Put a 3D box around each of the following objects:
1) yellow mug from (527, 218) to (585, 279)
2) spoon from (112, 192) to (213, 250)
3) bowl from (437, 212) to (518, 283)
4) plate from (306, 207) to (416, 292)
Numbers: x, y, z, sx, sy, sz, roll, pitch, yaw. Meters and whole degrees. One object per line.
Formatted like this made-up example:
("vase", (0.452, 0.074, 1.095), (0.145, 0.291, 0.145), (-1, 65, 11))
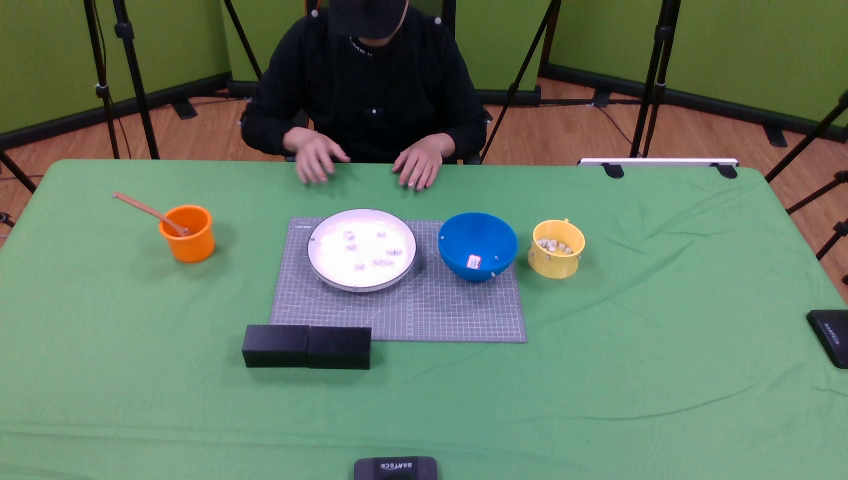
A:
("yellow mug", (0.261, 0.006, 1.181), (0.100, 0.064, 0.130), (18, 47, 14))
("spoon", (-0.475, -0.036, 1.108), (0.021, 0.195, 0.041), (-35, 35, 25))
("bowl", (0.096, 0.025, 1.138), (0.151, 0.077, 0.150), (3, 46, -2))
("plate", (-0.119, 0.021, 1.153), (0.209, 0.038, 0.208), (2, 46, -2))
